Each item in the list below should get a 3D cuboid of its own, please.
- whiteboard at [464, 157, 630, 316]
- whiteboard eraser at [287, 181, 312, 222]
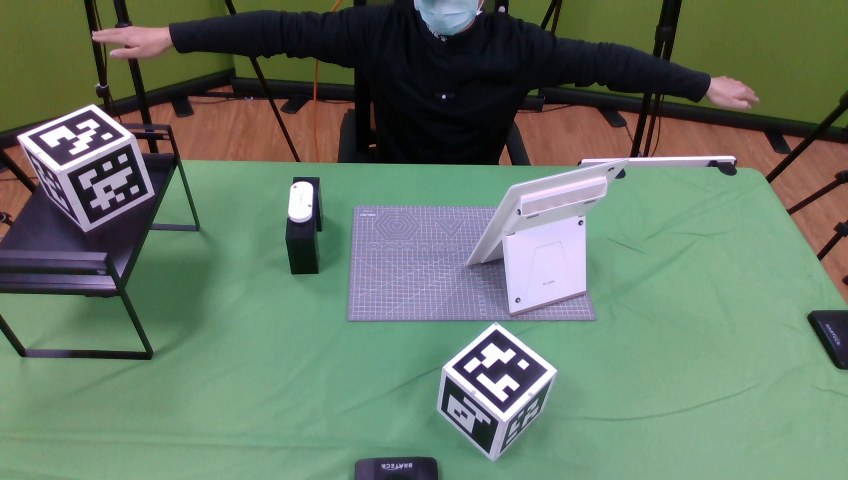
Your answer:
[{"bbox_3d":[0.224,0.014,1.043,0.217,0.306,0.143,-14,68,-17],"label":"whiteboard"},{"bbox_3d":[-0.227,-0.071,1.111,0.041,0.019,0.100,-2,46,-4],"label":"whiteboard eraser"}]
